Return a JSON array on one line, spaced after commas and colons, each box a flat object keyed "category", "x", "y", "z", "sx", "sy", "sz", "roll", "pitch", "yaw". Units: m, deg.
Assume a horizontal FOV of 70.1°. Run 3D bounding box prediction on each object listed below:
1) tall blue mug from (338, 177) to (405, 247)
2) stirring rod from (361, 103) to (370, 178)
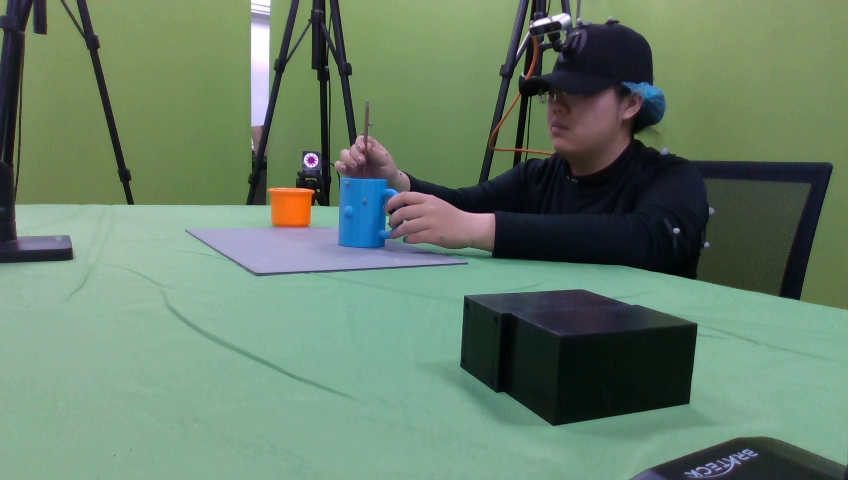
[{"category": "tall blue mug", "x": -0.083, "y": -0.045, "z": 0.973, "sx": 0.107, "sy": 0.108, "sz": 0.078, "roll": 2, "pitch": 6, "yaw": 0}, {"category": "stirring rod", "x": -0.095, "y": -0.131, "z": 0.965, "sx": 0.006, "sy": 0.176, "sz": 0.014, "roll": 3, "pitch": 2, "yaw": -19}]
